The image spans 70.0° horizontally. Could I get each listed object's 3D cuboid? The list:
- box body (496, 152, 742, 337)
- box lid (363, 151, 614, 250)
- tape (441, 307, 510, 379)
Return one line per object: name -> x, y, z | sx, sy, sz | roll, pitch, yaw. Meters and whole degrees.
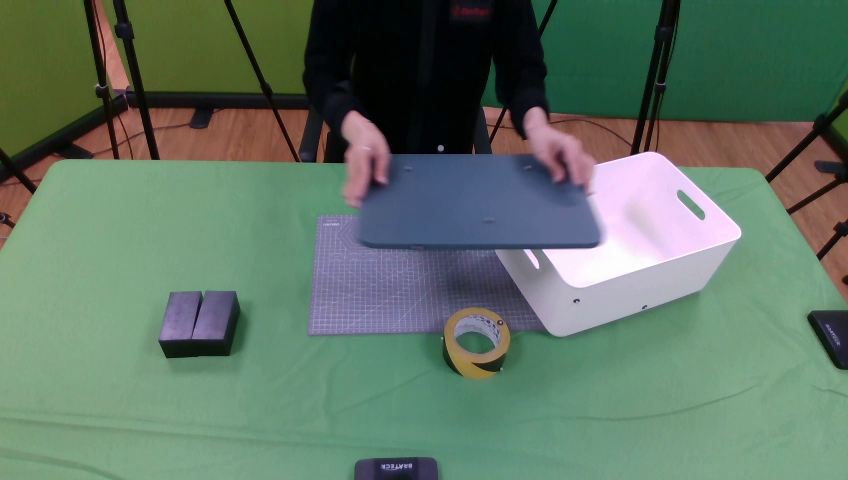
box body -> 0.340, 0.004, 1.118 | 0.364, 0.161, 0.252 | -15, 49, -18
box lid -> 0.090, -0.071, 0.965 | 0.372, 0.015, 0.261 | -1, 37, -2
tape -> 0.087, 0.172, 1.014 | 0.117, 0.053, 0.116 | 2, 49, -2
